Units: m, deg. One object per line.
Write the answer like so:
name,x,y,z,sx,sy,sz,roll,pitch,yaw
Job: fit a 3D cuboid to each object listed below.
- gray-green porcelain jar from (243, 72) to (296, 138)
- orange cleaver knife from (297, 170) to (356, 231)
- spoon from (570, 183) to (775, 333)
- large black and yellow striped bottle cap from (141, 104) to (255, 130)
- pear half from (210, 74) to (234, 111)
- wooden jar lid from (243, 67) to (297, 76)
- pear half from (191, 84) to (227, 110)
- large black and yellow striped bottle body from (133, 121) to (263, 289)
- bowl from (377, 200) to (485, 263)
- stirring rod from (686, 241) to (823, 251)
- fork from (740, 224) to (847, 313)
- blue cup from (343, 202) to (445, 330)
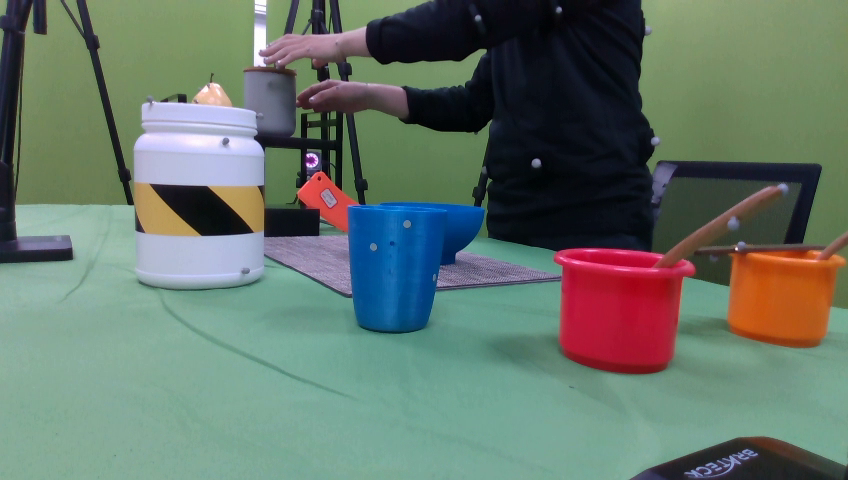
gray-green porcelain jar,-0.322,-0.279,1.263,0.106,0.126,0.106,3,8,0
orange cleaver knife,-0.150,-0.058,1.171,0.212,0.077,0.012,33,-15,-32
spoon,0.160,0.020,0.413,0.042,0.021,0.193,0,-36,-24
large black and yellow striped bottle cap,-0.241,-0.131,0.650,0.115,0.019,0.115,3,8,0
pear half,-0.401,-0.261,1.162,0.076,0.109,0.056,7,7,2
wooden jar lid,-0.319,-0.342,1.254,0.108,0.020,0.108,2,9,0
pear half,-0.405,-0.248,1.129,0.070,0.088,0.031,6,7,2
large black and yellow striped bottle body,-0.243,-0.048,0.659,0.131,0.184,0.130,2,7,0
bowl,0.008,-0.012,0.842,0.151,0.077,0.151,2,7,0
stirring rod,0.289,0.005,0.525,0.177,0.006,0.014,-1,5,-26
fork,0.323,0.013,0.485,0.028,0.018,0.207,9,-38,-5
blue cup,-0.027,0.021,0.510,0.093,0.100,0.092,3,5,0
